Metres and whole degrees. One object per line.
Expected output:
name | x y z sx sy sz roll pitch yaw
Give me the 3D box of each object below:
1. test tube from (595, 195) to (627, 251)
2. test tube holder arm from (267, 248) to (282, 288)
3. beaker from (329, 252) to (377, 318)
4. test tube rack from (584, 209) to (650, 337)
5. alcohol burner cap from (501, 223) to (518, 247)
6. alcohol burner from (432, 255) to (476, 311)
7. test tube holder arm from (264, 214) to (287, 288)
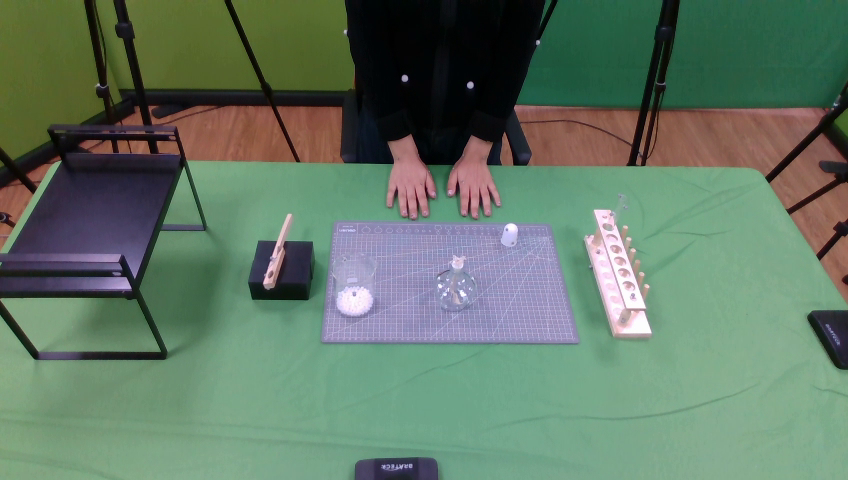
test tube | 0.350 -0.029 1.140 0.017 0.151 0.017 3 50 -3
test tube holder arm | -0.262 0.048 1.068 0.010 0.015 0.087 3 45 -3
beaker | -0.121 0.080 1.055 0.084 0.101 0.073 -16 50 -19
test tube rack | 0.365 0.056 1.129 0.067 0.085 0.240 1 46 -4
alcohol burner cap | 0.172 -0.013 1.206 0.034 0.048 0.033 1 46 -1
alcohol burner | 0.055 0.070 1.068 0.078 0.119 0.077 3 45 -3
test tube holder arm | -0.268 0.016 1.099 0.013 0.015 0.177 2 45 -4
